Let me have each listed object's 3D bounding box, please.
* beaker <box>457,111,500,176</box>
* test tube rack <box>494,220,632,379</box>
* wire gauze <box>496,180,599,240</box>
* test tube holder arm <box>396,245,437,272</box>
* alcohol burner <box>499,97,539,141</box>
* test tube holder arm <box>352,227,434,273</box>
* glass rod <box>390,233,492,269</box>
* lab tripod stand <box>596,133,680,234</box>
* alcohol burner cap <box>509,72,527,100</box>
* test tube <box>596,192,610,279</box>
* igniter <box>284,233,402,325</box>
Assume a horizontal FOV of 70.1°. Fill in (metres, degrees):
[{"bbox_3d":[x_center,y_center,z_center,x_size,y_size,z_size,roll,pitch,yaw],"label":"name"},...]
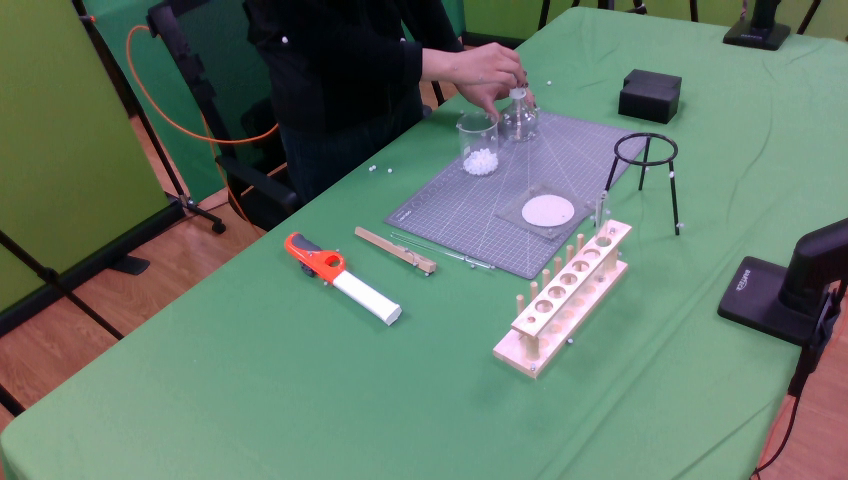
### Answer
[{"bbox_3d":[0.104,-0.176,1.108,0.073,0.101,0.084,16,45,27],"label":"beaker"},{"bbox_3d":[0.191,0.068,0.818,0.066,0.085,0.243,25,51,35],"label":"test tube rack"},{"bbox_3d":[0.206,-0.050,1.012,0.125,0.011,0.120,-34,45,-26],"label":"wire gauze"},{"bbox_3d":[-0.016,0.029,0.957,0.087,0.015,0.010,25,16,34],"label":"test tube holder arm"},{"bbox_3d":[0.184,-0.253,1.173,0.078,0.119,0.077,-4,39,4],"label":"alcohol burner"},{"bbox_3d":[-0.053,0.014,0.978,0.177,0.015,0.013,25,15,34],"label":"test tube holder arm"},{"bbox_3d":[0.023,0.017,0.971,0.198,0.008,0.008,18,48,32],"label":"glass rod"},{"bbox_3d":[0.338,-0.091,0.940,0.148,0.132,0.147,-7,39,6],"label":"lab tripod stand"},{"bbox_3d":[0.177,-0.292,1.139,0.034,0.048,0.033,-6,46,7],"label":"alcohol burner cap"},{"bbox_3d":[0.240,-0.002,0.814,0.017,0.151,0.017,-7,42,7],"label":"test tube"},{"bbox_3d":[-0.136,0.054,0.942,0.274,0.025,0.057,30,64,37],"label":"igniter"}]
